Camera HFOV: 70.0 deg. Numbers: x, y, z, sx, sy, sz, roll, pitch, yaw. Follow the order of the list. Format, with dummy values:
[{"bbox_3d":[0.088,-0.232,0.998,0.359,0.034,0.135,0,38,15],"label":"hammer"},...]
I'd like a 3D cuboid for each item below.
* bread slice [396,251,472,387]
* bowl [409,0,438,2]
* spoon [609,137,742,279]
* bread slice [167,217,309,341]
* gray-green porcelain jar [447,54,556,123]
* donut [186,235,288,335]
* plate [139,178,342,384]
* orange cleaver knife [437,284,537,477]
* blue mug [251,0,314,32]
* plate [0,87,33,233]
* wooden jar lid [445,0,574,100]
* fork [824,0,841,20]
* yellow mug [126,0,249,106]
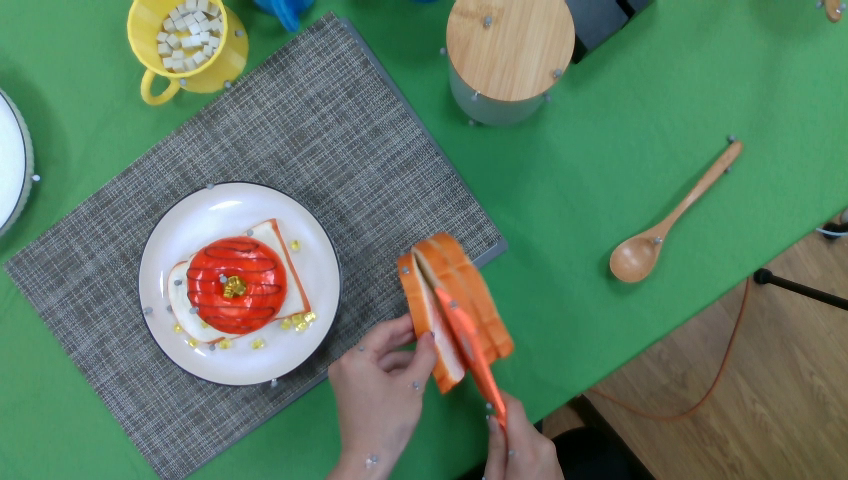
[{"bbox_3d":[0.010,0.073,0.596,0.018,0.107,0.134,-27,87,0],"label":"bread slice"},{"bbox_3d":[0.001,-0.302,0.602,0.151,0.077,0.151,0,91,2],"label":"bowl"},{"bbox_3d":[0.264,-0.034,0.626,0.041,0.022,0.194,43,92,19],"label":"spoon"},{"bbox_3d":[-0.198,0.049,0.633,0.131,0.019,0.105,-24,89,-2],"label":"bread slice"},{"bbox_3d":[0.075,-0.171,0.578,0.106,0.126,0.106,0,90,2],"label":"gray-green porcelain jar"},{"bbox_3d":[-0.184,0.044,0.600,0.099,0.048,0.099,0,91,-2],"label":"donut"},{"bbox_3d":[-0.186,0.042,0.628,0.209,0.038,0.209,0,91,2],"label":"plate"},{"bbox_3d":[0.060,0.136,0.579,0.012,0.076,0.213,-28,112,-11],"label":"orange cleaver knife"},{"bbox_3d":[-0.148,-0.263,0.593,0.082,0.106,0.116,-16,90,2],"label":"blue mug"},{"bbox_3d":[-0.511,-0.085,0.639,0.207,0.039,0.207,0,91,2],"label":"plate"},{"bbox_3d":[0.071,-0.172,0.515,0.108,0.020,0.108,0,92,-1],"label":"wooden jar lid"},{"bbox_3d":[0.362,-0.255,0.556,0.028,0.019,0.206,26,48,-5],"label":"fork"},{"bbox_3d":[-0.246,-0.193,0.616,0.100,0.064,0.131,32,93,2],"label":"yellow mug"}]
